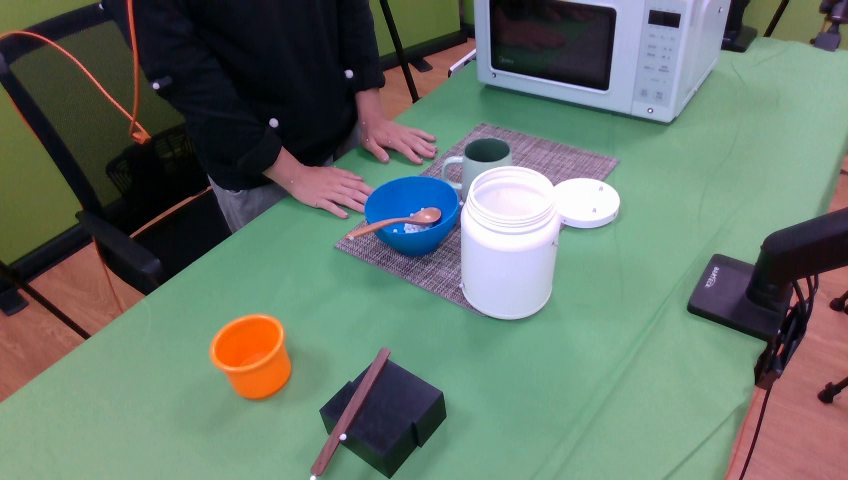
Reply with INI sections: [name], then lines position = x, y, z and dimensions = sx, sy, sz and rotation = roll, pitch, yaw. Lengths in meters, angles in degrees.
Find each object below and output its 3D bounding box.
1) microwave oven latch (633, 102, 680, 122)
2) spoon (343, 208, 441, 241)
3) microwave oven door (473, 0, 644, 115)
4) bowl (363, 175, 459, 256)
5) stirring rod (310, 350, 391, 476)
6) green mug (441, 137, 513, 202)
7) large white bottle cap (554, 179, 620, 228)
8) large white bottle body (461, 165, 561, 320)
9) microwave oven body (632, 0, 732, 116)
[microwave oven latch]
position = 0.444, -0.249, 1.157
dimensions = 0.078, 0.029, 0.030
rotation = 21, 49, 30
[spoon]
position = -0.046, -0.025, 0.911
dimensions = 0.041, 0.021, 0.195
rotation = 26, 27, 37
[microwave oven door]
position = 0.257, -0.396, 1.199
dimensions = 0.353, 0.245, 0.039
rotation = 21, 48, 29
[bowl]
position = -0.016, -0.028, 0.955
dimensions = 0.151, 0.077, 0.150
rotation = -4, 40, 4
[stirring rod]
position = -0.081, 0.192, 0.693
dimensions = 0.014, 0.006, 0.176
rotation = 7, 40, 25
[green mug]
position = 0.091, -0.107, 1.012
dimensions = 0.125, 0.105, 0.092
rotation = 2, 42, 11
[large white bottle cap]
position = 0.265, -0.062, 1.001
dimensions = 0.115, 0.018, 0.114
rotation = -3, 41, 3
[large white bottle body]
position = 0.115, 0.004, 0.816
dimensions = 0.130, 0.185, 0.130
rotation = -2, 43, 2
[microwave oven body]
position = 0.377, -0.462, 1.267
dimensions = 0.438, 0.261, 0.327
rotation = 21, 48, 30
